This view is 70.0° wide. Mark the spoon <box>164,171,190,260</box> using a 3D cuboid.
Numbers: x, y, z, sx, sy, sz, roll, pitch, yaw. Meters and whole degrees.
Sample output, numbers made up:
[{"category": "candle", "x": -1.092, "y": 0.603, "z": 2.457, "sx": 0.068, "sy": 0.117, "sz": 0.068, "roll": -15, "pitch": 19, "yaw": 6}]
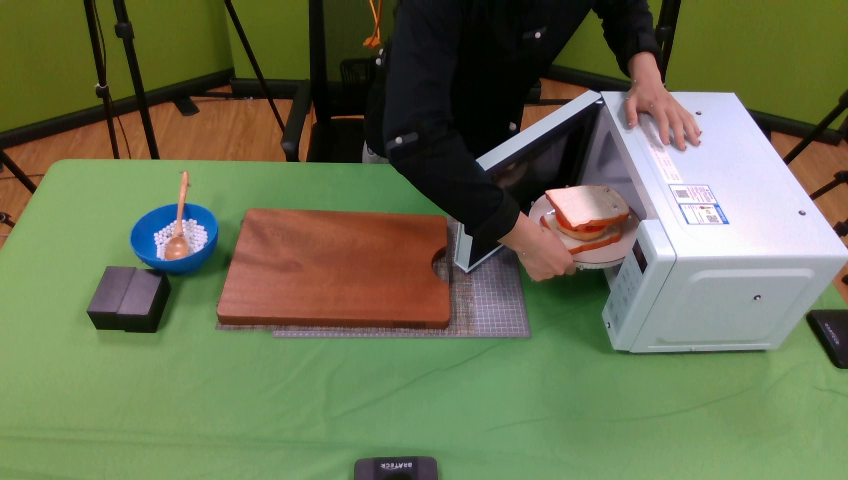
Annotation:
[{"category": "spoon", "x": -0.452, "y": -0.046, "z": 1.129, "sx": 0.041, "sy": 0.022, "sz": 0.193, "roll": -1, "pitch": 69, "yaw": -3}]

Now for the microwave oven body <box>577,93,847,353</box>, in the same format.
[{"category": "microwave oven body", "x": 0.475, "y": -0.041, "z": 1.109, "sx": 0.326, "sy": 0.261, "sz": 0.438, "roll": -1, "pitch": 45, "yaw": -4}]

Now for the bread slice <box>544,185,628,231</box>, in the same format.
[{"category": "bread slice", "x": 0.293, "y": -0.061, "z": 1.082, "sx": 0.134, "sy": 0.018, "sz": 0.106, "roll": -12, "pitch": 45, "yaw": -23}]

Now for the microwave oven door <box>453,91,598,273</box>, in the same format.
[{"category": "microwave oven door", "x": 0.197, "y": -0.115, "z": 1.152, "sx": 0.356, "sy": 0.245, "sz": 0.039, "roll": -34, "pitch": 57, "yaw": -31}]

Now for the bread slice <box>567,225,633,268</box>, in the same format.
[{"category": "bread slice", "x": 0.324, "y": 0.005, "z": 1.131, "sx": 0.131, "sy": 0.019, "sz": 0.104, "roll": -11, "pitch": 34, "yaw": 6}]

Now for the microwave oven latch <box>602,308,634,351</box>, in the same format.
[{"category": "microwave oven latch", "x": 0.332, "y": 0.153, "z": 1.044, "sx": 0.030, "sy": 0.029, "sz": 0.078, "roll": -1, "pitch": 45, "yaw": -4}]

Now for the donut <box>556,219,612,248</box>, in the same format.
[{"category": "donut", "x": 0.291, "y": -0.019, "z": 1.101, "sx": 0.099, "sy": 0.048, "sz": 0.098, "roll": -8, "pitch": 25, "yaw": 4}]

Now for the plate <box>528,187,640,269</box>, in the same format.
[{"category": "plate", "x": 0.295, "y": -0.019, "z": 1.125, "sx": 0.208, "sy": 0.039, "sz": 0.206, "roll": 0, "pitch": 44, "yaw": 0}]

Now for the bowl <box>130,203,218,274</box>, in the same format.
[{"category": "bowl", "x": -0.451, "y": 0.010, "z": 1.116, "sx": 0.151, "sy": 0.077, "sz": 0.150, "roll": 3, "pitch": 45, "yaw": -3}]
